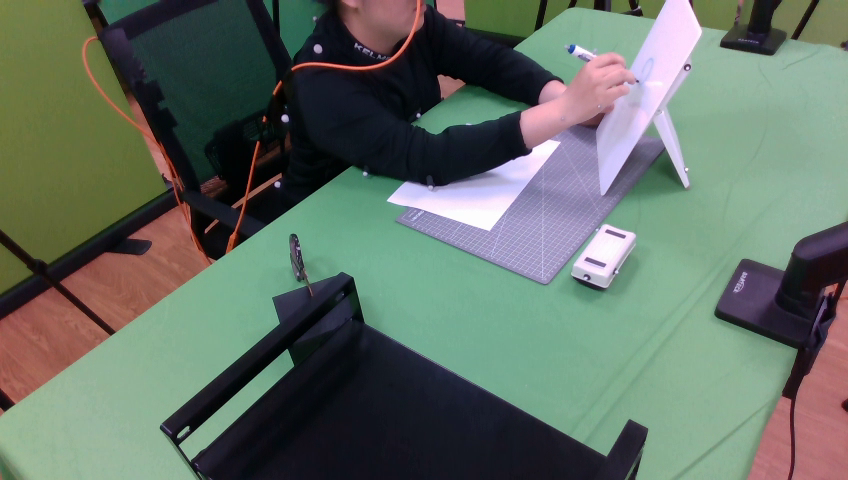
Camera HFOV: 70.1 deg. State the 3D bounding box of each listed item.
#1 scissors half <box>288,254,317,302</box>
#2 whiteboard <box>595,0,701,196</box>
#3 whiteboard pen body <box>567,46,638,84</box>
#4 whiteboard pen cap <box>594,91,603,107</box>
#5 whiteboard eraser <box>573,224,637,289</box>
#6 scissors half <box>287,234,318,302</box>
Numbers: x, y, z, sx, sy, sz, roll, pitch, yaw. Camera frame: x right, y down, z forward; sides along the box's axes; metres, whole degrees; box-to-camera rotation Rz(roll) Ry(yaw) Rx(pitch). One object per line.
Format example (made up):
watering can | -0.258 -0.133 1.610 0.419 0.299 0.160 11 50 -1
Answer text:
scissors half | -0.178 0.058 0.894 0.013 0.040 0.174 -16 21 -18
whiteboard | 0.421 -0.227 1.010 0.144 0.305 0.216 18 42 -2
whiteboard pen body | 0.298 -0.286 0.999 0.141 0.017 0.017 19 37 -18
whiteboard pen cap | 0.364 -0.294 1.262 0.018 0.033 0.018 -5 41 5
whiteboard eraser | 0.267 0.025 0.891 0.055 0.042 0.113 19 47 31
scissors half | -0.178 0.040 0.885 0.013 0.040 0.173 -12 36 -21
